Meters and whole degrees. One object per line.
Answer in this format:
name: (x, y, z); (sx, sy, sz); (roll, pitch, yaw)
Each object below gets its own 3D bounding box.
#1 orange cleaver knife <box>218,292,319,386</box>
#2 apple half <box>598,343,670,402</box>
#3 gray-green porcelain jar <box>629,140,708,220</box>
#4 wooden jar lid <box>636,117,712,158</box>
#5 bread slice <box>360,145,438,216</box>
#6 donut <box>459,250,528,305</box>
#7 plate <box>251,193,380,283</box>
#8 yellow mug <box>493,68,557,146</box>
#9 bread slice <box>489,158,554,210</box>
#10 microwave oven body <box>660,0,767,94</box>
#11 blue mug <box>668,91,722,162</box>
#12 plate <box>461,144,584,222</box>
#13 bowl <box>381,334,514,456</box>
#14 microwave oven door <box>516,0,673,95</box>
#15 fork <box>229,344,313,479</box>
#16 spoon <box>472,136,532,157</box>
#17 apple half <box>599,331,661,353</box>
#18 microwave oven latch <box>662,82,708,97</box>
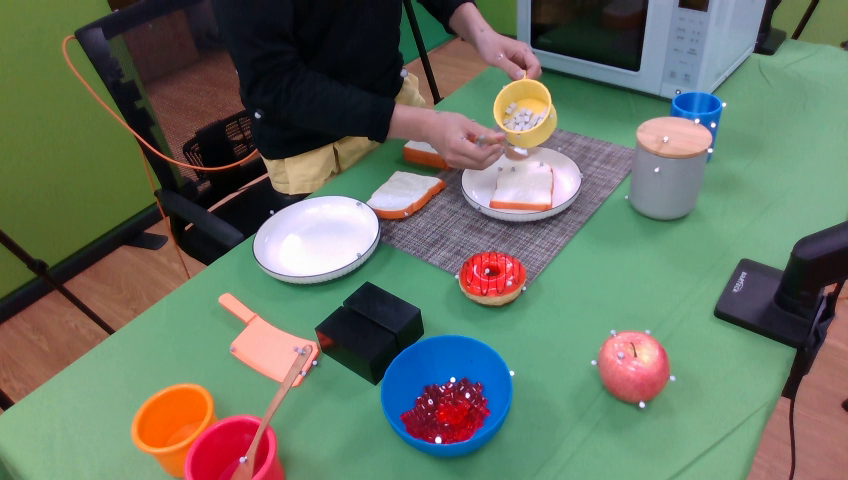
orange cleaver knife: (-0.235, 0.136, 0.850); (0.209, 0.012, 0.077); (25, 57, 30)
apple half: (0.247, 0.161, 0.710); (0.081, 0.075, 0.053); (2, 47, 5)
gray-green porcelain jar: (0.383, -0.104, 0.958); (0.106, 0.127, 0.105); (-4, 41, 4)
wooden jar lid: (0.377, -0.151, 0.917); (0.108, 0.021, 0.108); (-2, 41, 2)
bread slice: (-0.053, -0.103, 1.046); (0.106, 0.018, 0.134); (19, 67, 23)
donut: (0.100, 0.053, 0.873); (0.099, 0.048, 0.098); (-5, 40, 4)
plate: (-0.173, -0.001, 0.985); (0.209, 0.038, 0.208); (-4, 41, 4)
yellow mug: (0.176, -0.237, 1.054); (0.099, 0.064, 0.130); (-4, 75, 20)
bread slice: (0.173, -0.100, 1.048); (0.104, 0.019, 0.131); (4, 44, 12)
microwave oven body: (0.474, -0.517, 1.313); (0.438, 0.261, 0.327); (26, 51, 34)
blue mug: (0.474, -0.207, 1.078); (0.082, 0.106, 0.116); (4, 42, 13)
plate: (0.167, -0.095, 1.040); (0.207, 0.039, 0.206); (-4, 41, 4)
bowl: (0.029, 0.192, 0.701); (0.151, 0.077, 0.150); (-4, 40, 4)
microwave oven door: (0.344, -0.458, 1.257); (0.353, 0.245, 0.039); (26, 51, 33)
fork: (-0.173, 0.205, 0.662); (0.028, 0.019, 0.207); (29, 94, 35)
spoon: (0.118, -0.147, 0.928); (0.041, 0.021, 0.195); (9, 4, 31)
apple half: (0.249, 0.134, 0.738); (0.081, 0.081, 0.032); (-1, 46, 7)
microwave oven latch: (0.518, -0.298, 1.203); (0.078, 0.029, 0.030); (28, 53, 35)
